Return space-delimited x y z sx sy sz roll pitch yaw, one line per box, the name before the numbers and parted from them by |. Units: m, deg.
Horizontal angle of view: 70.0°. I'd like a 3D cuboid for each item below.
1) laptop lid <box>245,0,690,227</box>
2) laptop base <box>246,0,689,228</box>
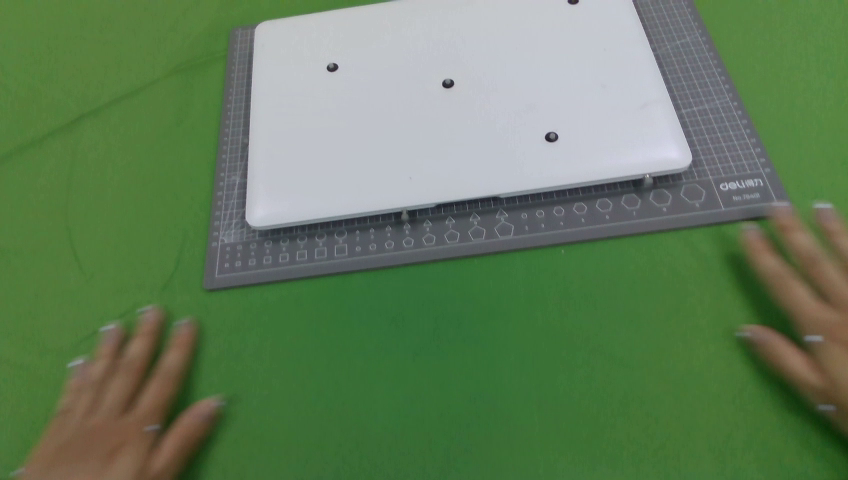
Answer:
laptop lid | 0.022 -0.133 0.522 0.357 0.013 0.239 -6 62 3
laptop base | 0.023 -0.129 0.533 0.354 0.023 0.233 -8 63 2
